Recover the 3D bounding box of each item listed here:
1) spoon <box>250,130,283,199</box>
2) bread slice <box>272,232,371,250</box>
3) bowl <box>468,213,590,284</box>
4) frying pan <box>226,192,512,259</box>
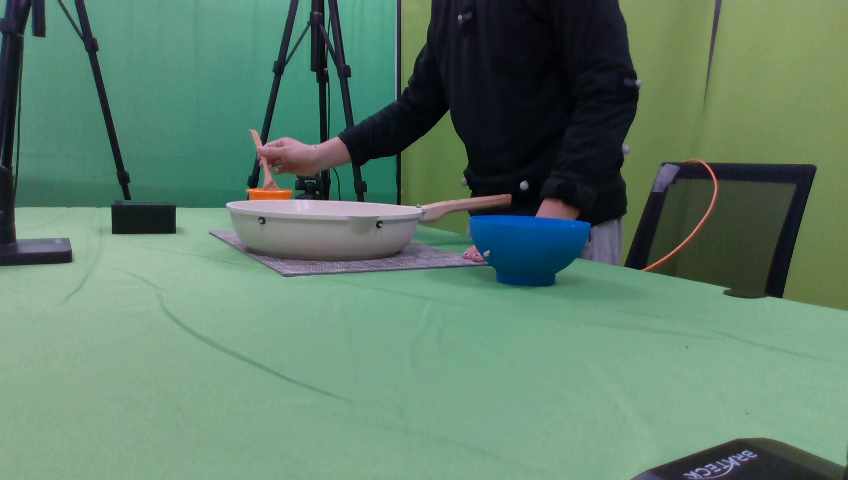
[{"bbox_3d":[-0.335,-0.156,1.273,0.042,0.193,0.021,-7,-24,-31],"label":"spoon"},{"bbox_3d":[-0.148,0.001,0.929,0.133,0.018,0.107,5,7,38],"label":"bread slice"},{"bbox_3d":[0.128,0.011,0.755,0.151,0.077,0.151,2,7,0],"label":"bowl"},{"bbox_3d":[-0.058,-0.041,0.974,0.490,0.102,0.305,-11,13,-26],"label":"frying pan"}]
